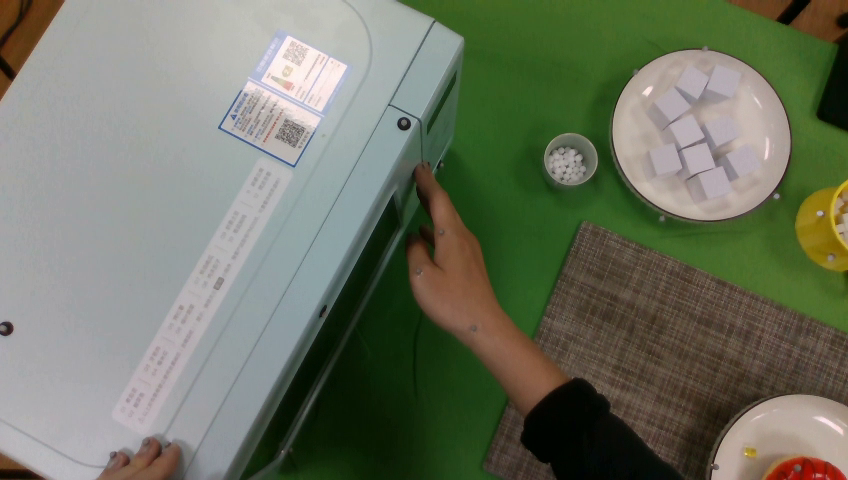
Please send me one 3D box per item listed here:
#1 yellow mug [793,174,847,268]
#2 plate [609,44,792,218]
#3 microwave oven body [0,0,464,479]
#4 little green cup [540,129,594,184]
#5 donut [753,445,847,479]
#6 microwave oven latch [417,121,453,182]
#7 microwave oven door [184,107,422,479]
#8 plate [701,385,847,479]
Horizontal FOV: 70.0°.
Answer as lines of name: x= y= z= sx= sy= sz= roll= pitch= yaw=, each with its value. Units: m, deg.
yellow mug: x=0.486 y=-0.009 z=0.679 sx=0.100 sy=0.064 sz=0.130 roll=-13 pitch=82 yaw=-2
plate: x=0.317 y=-0.125 z=0.709 sx=0.208 sy=0.039 sz=0.207 roll=0 pitch=81 yaw=0
microwave oven body: x=-0.209 y=-0.031 z=0.577 sx=0.326 sy=0.261 sz=0.441 roll=27 pitch=83 yaw=3
little green cup: x=0.163 y=-0.094 z=0.702 sx=0.061 sy=0.039 sz=0.061 roll=0 pitch=83 yaw=1
donut: x=0.395 y=0.267 z=0.635 sx=0.099 sy=0.048 sz=0.099 roll=0 pitch=84 yaw=2
microwave oven latch: x=0.004 y=-0.105 z=0.686 sx=0.030 sy=0.029 sz=0.079 roll=30 pitch=83 yaw=4
microwave oven door: x=-0.098 y=0.072 z=0.557 sx=0.039 sy=0.244 sz=0.355 roll=27 pitch=82 yaw=5
plate: x=0.397 y=0.259 z=0.648 sx=0.209 sy=0.038 sz=0.208 roll=0 pitch=82 yaw=0
